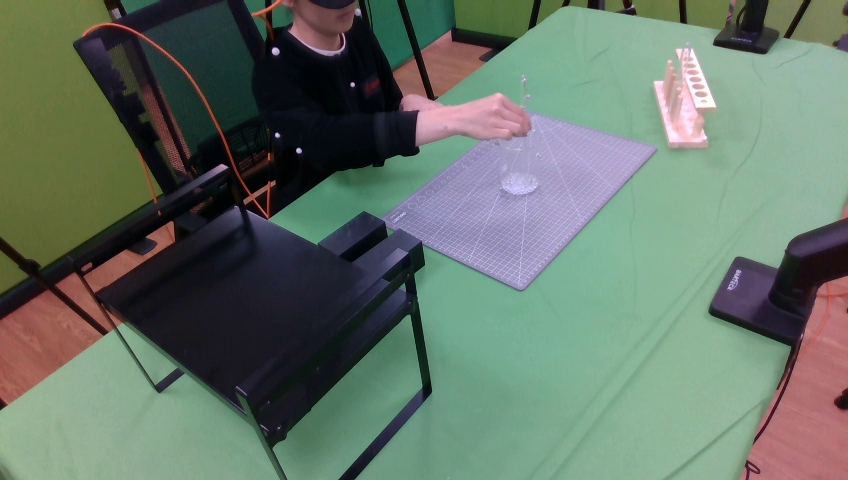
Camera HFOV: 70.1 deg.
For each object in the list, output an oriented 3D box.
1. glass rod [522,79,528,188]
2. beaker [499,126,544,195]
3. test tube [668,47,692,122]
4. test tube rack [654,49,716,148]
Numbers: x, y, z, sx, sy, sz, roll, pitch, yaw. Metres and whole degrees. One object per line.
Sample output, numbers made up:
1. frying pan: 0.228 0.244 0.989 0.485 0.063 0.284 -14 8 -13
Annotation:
1. glass rod: 0.169 -0.172 1.003 0.008 0.200 0.008 -5 37 4
2. beaker: 0.170 -0.137 1.045 0.073 0.101 0.084 12 44 21
3. test tube: 0.472 -0.285 1.117 0.017 0.151 0.017 -4 44 4
4. test tube rack: 0.502 -0.281 1.176 0.066 0.085 0.241 1 41 11
